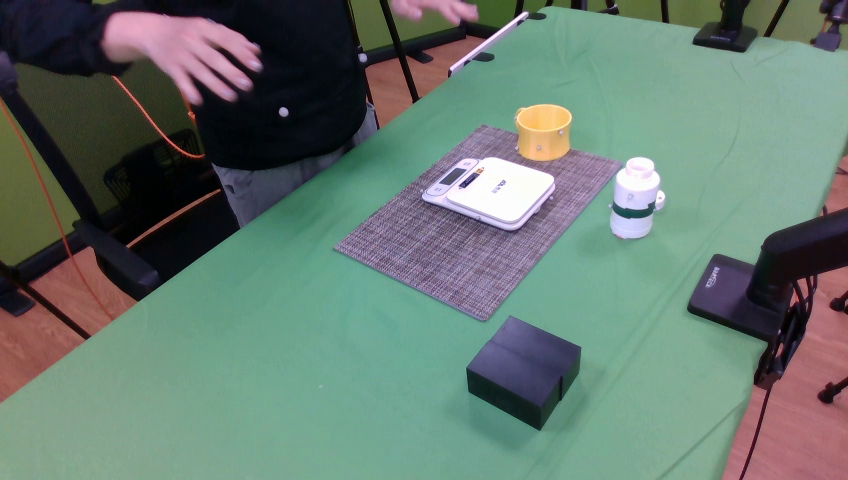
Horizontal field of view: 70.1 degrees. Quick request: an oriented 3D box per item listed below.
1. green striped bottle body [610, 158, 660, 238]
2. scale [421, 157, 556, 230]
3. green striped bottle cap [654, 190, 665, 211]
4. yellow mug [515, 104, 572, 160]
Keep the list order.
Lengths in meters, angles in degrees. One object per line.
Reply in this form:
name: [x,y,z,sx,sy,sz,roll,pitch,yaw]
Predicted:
green striped bottle body: [0.323,-0.066,0.923,0.063,0.120,0.063,-4,41,4]
scale: [0.110,-0.089,1.042,0.199,0.032,0.149,23,48,30]
green striped bottle cap: [0.375,-0.066,0.998,0.044,0.020,0.044,-8,37,7]
yellow mug: [0.216,-0.211,1.143,0.100,0.064,0.129,-27,44,-22]
